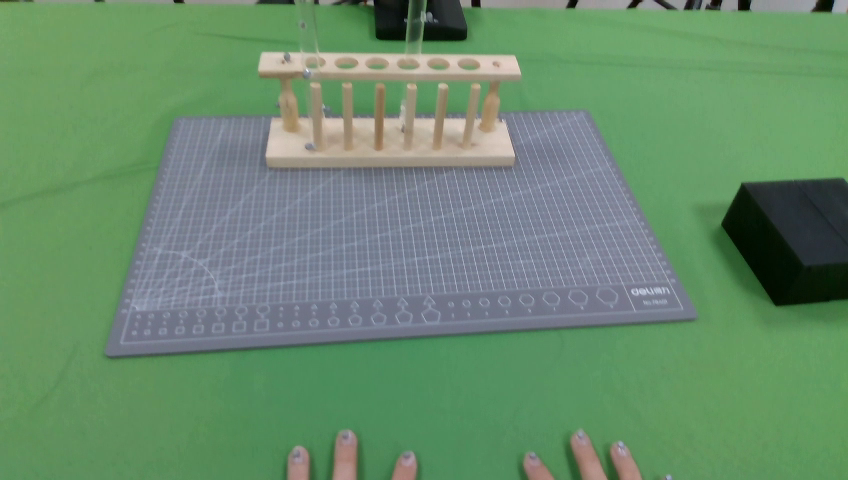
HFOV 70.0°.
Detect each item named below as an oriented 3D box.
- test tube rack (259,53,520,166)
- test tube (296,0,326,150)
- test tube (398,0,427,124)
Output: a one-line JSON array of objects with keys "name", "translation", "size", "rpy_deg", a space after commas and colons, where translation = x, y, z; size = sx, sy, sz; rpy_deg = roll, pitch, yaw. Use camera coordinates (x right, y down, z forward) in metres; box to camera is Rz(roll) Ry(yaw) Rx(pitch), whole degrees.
[{"name": "test tube rack", "translation": [-0.031, -0.126, 0.590], "size": [0.243, 0.086, 0.066], "rpy_deg": [-1, 46, -6]}, {"name": "test tube", "translation": [-0.099, -0.145, 0.539], "size": [0.017, 0.152, 0.017], "rpy_deg": [2, 44, -2]}, {"name": "test tube", "translation": [-0.011, -0.174, 0.569], "size": [0.017, 0.151, 0.017], "rpy_deg": [5, 43, -4]}]
